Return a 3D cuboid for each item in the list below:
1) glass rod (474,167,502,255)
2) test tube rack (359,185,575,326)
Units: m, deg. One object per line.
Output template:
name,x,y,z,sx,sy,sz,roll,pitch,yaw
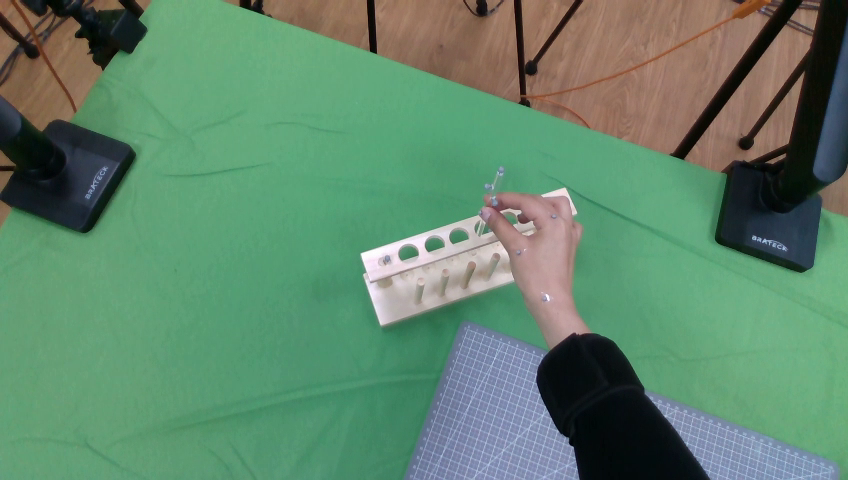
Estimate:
glass rod,0.064,-0.024,0.630,0.008,0.201,0.008,1,67,-1
test tube rack,0.053,0.019,0.688,0.243,0.085,0.066,-18,71,-10
